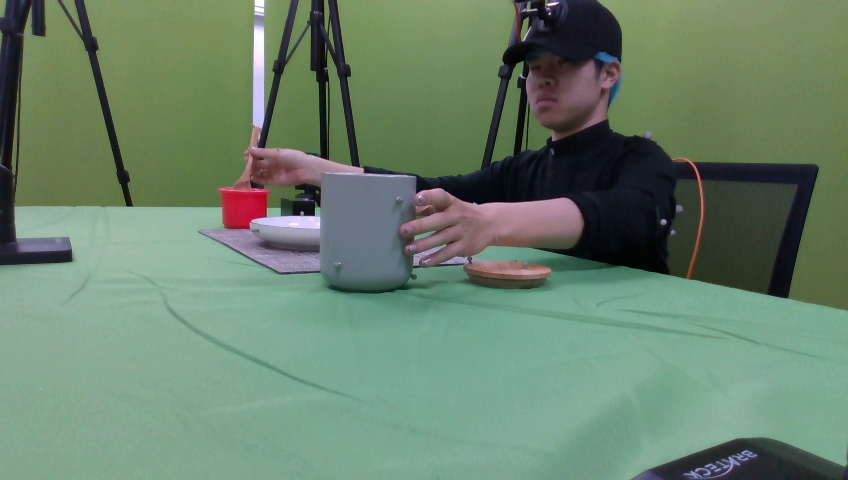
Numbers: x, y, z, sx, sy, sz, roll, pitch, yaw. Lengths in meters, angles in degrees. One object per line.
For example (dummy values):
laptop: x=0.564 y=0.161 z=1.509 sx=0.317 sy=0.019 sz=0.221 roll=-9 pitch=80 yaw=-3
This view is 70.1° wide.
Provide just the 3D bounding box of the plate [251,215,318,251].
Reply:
plate: x=-0.170 y=-0.012 z=0.971 sx=0.208 sy=0.039 sz=0.207 roll=2 pitch=7 yaw=0

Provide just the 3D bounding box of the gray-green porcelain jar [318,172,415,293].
gray-green porcelain jar: x=-0.065 y=-0.010 z=0.671 sx=0.106 sy=0.126 sz=0.106 roll=2 pitch=7 yaw=0

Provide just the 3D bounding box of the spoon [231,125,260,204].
spoon: x=-0.352 y=-0.155 z=1.221 sx=0.042 sy=0.193 sz=0.021 roll=19 pitch=-28 yaw=-26

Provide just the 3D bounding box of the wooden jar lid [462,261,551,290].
wooden jar lid: x=0.100 y=0.043 z=0.742 sx=0.108 sy=0.020 sz=0.108 roll=2 pitch=6 yaw=0
